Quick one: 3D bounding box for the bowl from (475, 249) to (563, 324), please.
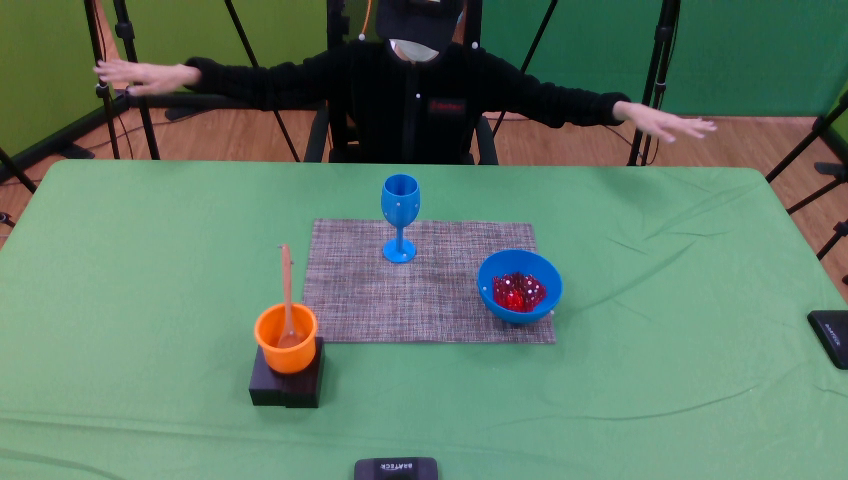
[{"bbox_3d":[0.163,0.096,1.074,0.151,0.077,0.150,2,46,-2],"label":"bowl"}]

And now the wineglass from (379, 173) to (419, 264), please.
[{"bbox_3d":[-0.046,-0.036,1.120,0.074,0.173,0.073,2,46,-2],"label":"wineglass"}]

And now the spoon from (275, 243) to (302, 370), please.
[{"bbox_3d":[-0.209,0.101,0.926,0.041,0.193,0.021,-1,2,-6],"label":"spoon"}]
